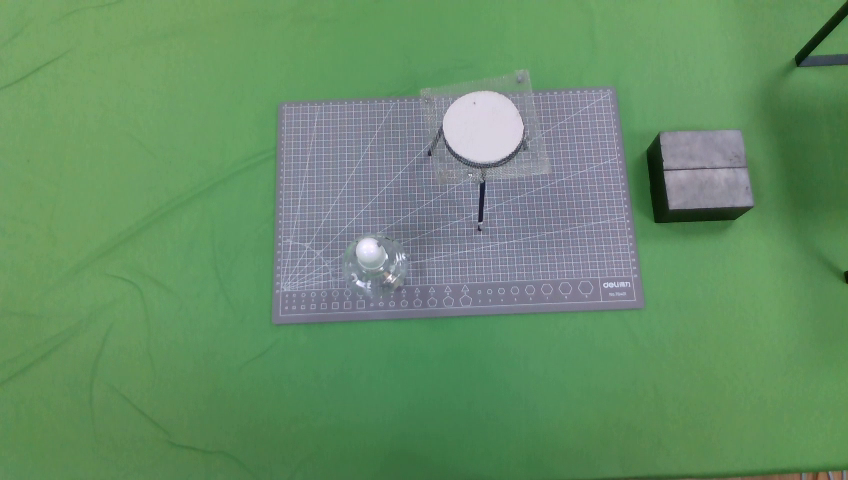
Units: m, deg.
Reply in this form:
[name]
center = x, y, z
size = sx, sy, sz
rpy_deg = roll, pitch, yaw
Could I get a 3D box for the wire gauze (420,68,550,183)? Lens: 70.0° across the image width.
[wire gauze]
center = 0.064, -0.122, 0.650
size = 0.125, 0.011, 0.120
rpy_deg = -8, 74, -2

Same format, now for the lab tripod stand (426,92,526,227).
[lab tripod stand]
center = 0.068, -0.106, 0.715
size = 0.148, 0.132, 0.147
rpy_deg = 0, 72, 1

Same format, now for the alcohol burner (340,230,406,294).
[alcohol burner]
center = -0.059, 0.021, 0.693
size = 0.078, 0.120, 0.077
rpy_deg = 0, 73, 0

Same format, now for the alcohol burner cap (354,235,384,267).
[alcohol burner cap]
center = -0.061, 0.010, 0.658
size = 0.034, 0.048, 0.033
rpy_deg = 0, 77, -1
